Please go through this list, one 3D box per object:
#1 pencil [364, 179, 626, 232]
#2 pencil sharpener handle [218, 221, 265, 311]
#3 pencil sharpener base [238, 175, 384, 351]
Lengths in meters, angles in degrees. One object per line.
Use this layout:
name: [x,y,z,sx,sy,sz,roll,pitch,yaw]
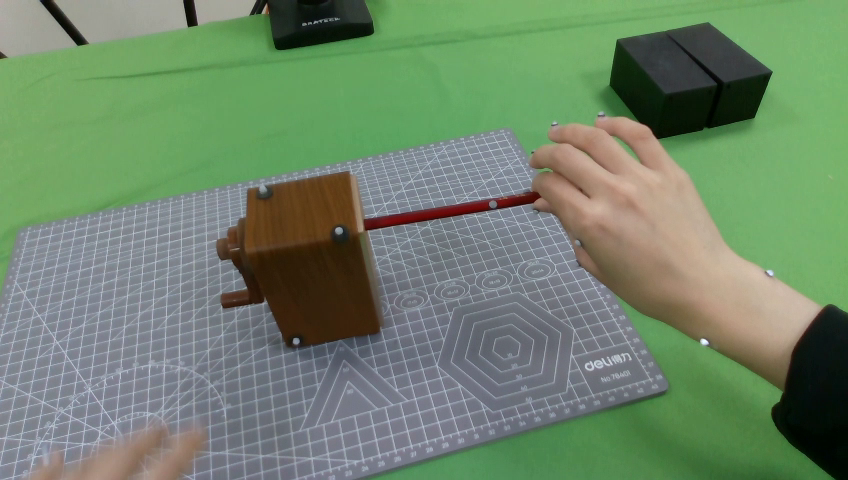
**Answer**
pencil: [0.033,-0.020,0.390,0.194,0.012,0.012,-9,46,-1]
pencil sharpener handle: [-0.124,0.020,0.394,0.031,0.068,0.035,-10,40,-4]
pencil sharpener base: [-0.073,0.019,0.408,0.077,0.108,0.060,-10,47,-4]
